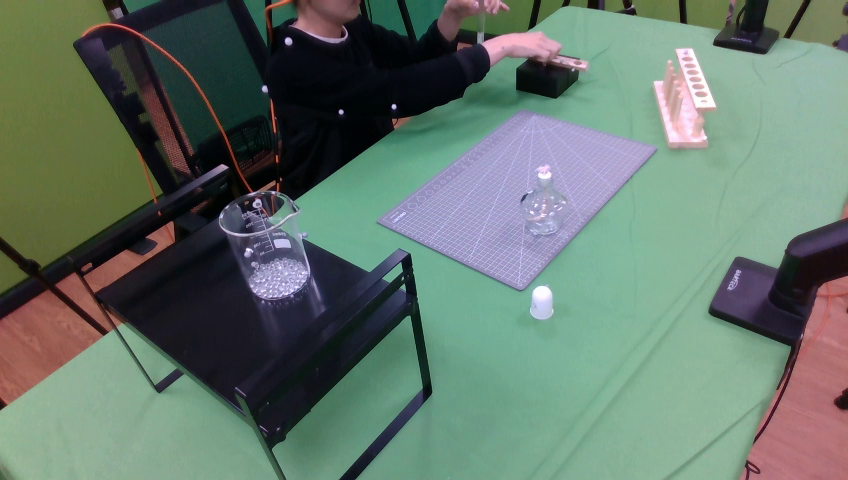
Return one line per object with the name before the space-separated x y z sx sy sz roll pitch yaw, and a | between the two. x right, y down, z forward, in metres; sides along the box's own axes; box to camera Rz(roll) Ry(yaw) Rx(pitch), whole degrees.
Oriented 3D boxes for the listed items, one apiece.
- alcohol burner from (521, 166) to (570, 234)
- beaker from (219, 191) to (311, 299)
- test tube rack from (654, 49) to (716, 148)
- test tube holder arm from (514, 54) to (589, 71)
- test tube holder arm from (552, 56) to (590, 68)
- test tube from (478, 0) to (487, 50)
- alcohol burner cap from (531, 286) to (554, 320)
alcohol burner | 0.192 -0.068 0.951 0.078 0.119 0.077 -4 42 4
beaker | -0.164 0.008 0.654 0.084 0.101 0.073 -10 41 -3
test tube rack | 0.502 -0.281 1.176 0.066 0.085 0.241 2 41 11
test tube holder arm | 0.275 -0.388 1.316 0.177 0.015 0.013 19 73 32
test tube holder arm | 0.313 -0.380 1.293 0.087 0.015 0.010 21 74 33
test tube | 0.125 -0.479 1.286 0.017 0.151 0.017 -1 39 2
alcohol burner cap | 0.164 0.084 0.838 0.034 0.048 0.033 -4 40 4
